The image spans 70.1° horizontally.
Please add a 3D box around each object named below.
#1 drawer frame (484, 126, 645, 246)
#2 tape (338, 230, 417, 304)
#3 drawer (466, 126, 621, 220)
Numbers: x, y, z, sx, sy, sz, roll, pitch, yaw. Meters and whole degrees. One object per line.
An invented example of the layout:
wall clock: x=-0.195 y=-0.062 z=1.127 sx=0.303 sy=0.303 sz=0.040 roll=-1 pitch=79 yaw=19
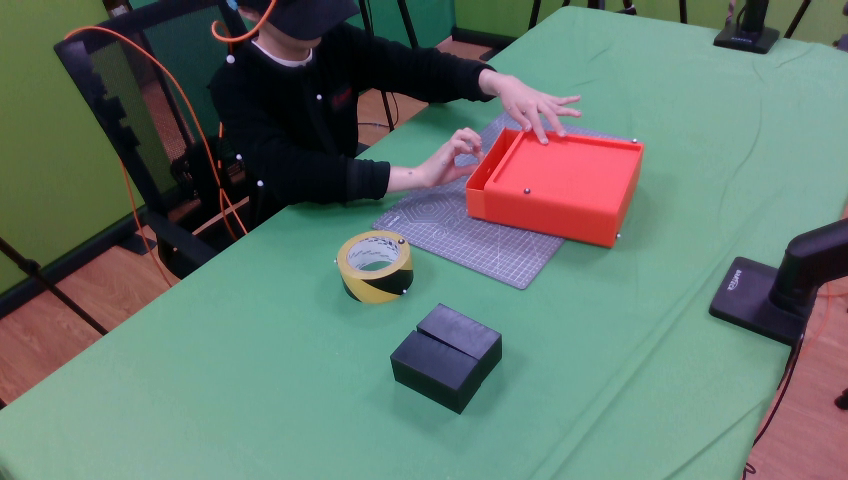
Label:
drawer frame: x=0.234 y=-0.096 z=1.003 sx=0.212 sy=0.083 sz=0.202 roll=13 pitch=44 yaw=22
tape: x=-0.069 y=0.040 z=0.918 sx=0.117 sy=0.053 sz=0.116 roll=-4 pitch=41 yaw=4
drawer: x=0.203 y=-0.102 z=1.016 sx=0.210 sy=0.073 sz=0.194 roll=13 pitch=44 yaw=22
